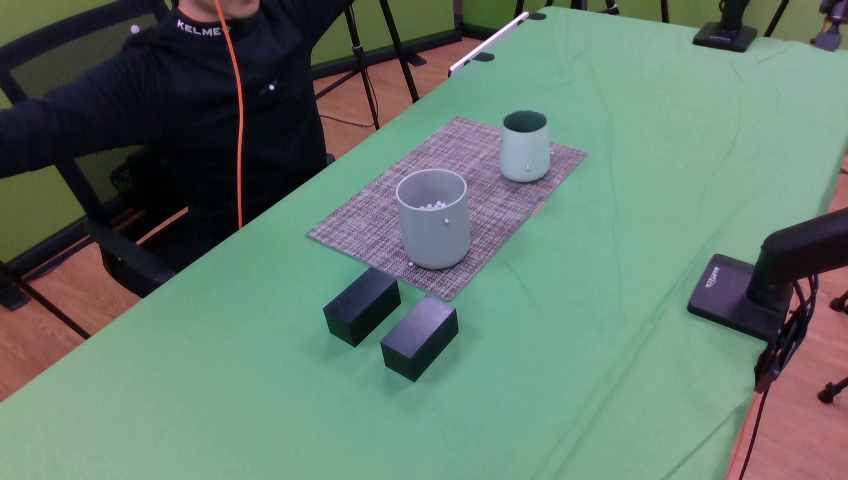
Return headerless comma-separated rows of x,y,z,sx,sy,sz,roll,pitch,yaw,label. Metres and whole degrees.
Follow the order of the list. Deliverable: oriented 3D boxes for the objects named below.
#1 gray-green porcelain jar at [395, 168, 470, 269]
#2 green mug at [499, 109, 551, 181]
0.016,-0.028,0.913,0.106,0.127,0.105,-4,41,4,gray-green porcelain jar
0.172,-0.176,1.078,0.093,0.105,0.124,-17,42,-10,green mug
